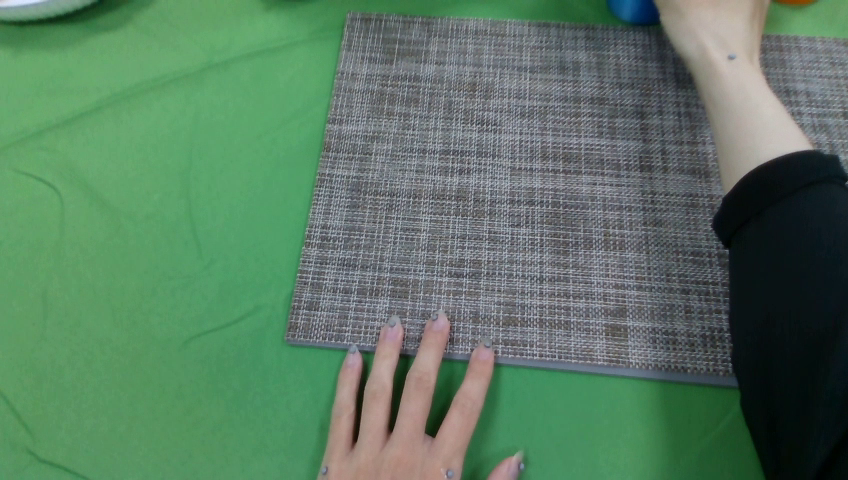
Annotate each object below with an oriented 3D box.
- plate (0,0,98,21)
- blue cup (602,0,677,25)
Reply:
[{"bbox_3d":[-0.349,-0.277,0.560,0.208,0.039,0.206,0,65,1],"label":"plate"},{"bbox_3d":[0.187,-0.235,0.496,0.092,0.101,0.092,-1,64,3],"label":"blue cup"}]
